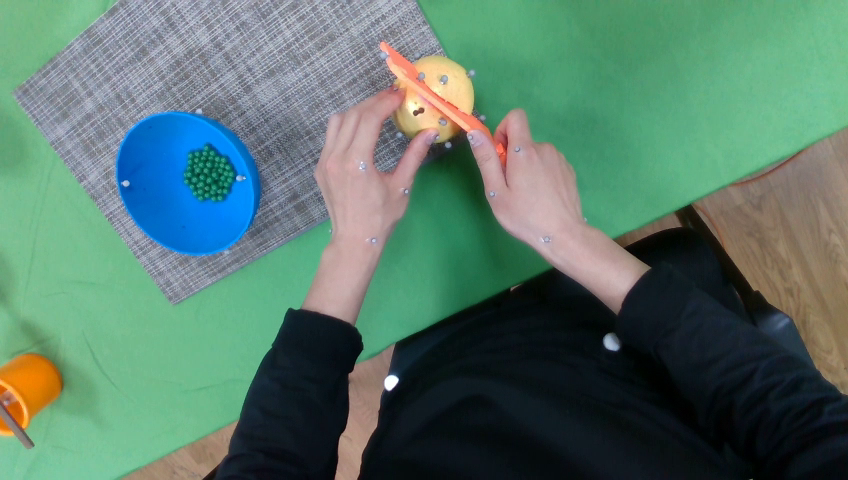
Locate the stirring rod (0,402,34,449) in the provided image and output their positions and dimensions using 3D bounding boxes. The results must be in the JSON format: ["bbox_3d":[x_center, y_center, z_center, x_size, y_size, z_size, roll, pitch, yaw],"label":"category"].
[{"bbox_3d":[-0.552,0.196,0.766,0.014,0.006,0.177,-23,106,17],"label":"stirring rod"}]

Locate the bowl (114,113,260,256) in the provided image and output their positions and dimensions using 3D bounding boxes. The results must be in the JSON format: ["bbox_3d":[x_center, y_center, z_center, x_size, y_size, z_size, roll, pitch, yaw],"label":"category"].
[{"bbox_3d":[-0.236,-0.066,0.646,0.151,0.076,0.152,3,112,9],"label":"bowl"}]

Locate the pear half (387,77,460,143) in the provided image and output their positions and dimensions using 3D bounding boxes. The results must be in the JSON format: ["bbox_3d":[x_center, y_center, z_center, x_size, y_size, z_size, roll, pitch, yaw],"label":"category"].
[{"bbox_3d":[-0.006,-0.119,0.568,0.076,0.109,0.056,41,112,-2],"label":"pear half"}]

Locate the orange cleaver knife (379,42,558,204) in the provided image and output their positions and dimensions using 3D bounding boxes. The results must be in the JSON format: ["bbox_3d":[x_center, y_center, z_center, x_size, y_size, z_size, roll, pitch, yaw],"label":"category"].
[{"bbox_3d":[0.042,-0.107,0.557,0.213,0.076,0.012,36,112,-19],"label":"orange cleaver knife"}]

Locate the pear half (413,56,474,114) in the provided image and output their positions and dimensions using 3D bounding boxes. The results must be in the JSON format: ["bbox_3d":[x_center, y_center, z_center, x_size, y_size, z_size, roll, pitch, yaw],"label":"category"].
[{"bbox_3d":[0.023,-0.150,0.563,0.070,0.087,0.031,34,106,-3],"label":"pear half"}]

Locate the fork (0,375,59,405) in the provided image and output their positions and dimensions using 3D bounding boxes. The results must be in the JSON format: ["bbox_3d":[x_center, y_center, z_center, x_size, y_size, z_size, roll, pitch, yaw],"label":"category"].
[{"bbox_3d":[-0.591,0.225,0.786,0.208,0.018,0.028,-22,122,-28],"label":"fork"}]
